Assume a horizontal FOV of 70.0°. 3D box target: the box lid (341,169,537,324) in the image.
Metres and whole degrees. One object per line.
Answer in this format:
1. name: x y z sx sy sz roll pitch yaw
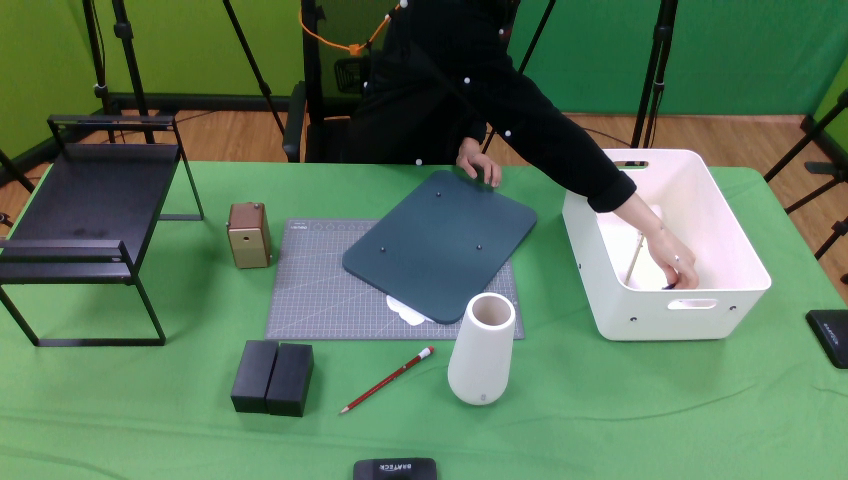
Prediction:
1. box lid: 0.038 -0.004 1.210 0.262 0.015 0.371 27 49 21

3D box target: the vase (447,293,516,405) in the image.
1. vase: 0.091 0.169 0.921 0.098 0.201 0.097 3 47 -3

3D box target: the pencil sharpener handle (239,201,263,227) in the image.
1. pencil sharpener handle: -0.324 -0.056 1.149 0.036 0.068 0.030 -13 46 4

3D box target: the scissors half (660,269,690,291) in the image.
1. scissors half: 0.468 0.076 1.123 0.012 0.040 0.175 53 35 15

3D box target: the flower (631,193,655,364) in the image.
1. flower: 0.422 0.068 1.187 0.038 0.044 0.360 21 65 -18

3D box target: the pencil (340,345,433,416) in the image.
1. pencil: -0.058 0.227 0.984 0.194 0.012 0.012 -32 56 -28

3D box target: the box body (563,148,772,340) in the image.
1. box body: 0.421 0.003 1.130 0.254 0.161 0.361 0 46 -5

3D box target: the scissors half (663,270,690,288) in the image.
1. scissors half: 0.458 0.087 1.136 0.175 0.040 0.013 -24 76 -37

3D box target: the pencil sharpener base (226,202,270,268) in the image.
1. pencil sharpener base: -0.323 -0.010 1.123 0.061 0.107 0.076 -3 46 -7
